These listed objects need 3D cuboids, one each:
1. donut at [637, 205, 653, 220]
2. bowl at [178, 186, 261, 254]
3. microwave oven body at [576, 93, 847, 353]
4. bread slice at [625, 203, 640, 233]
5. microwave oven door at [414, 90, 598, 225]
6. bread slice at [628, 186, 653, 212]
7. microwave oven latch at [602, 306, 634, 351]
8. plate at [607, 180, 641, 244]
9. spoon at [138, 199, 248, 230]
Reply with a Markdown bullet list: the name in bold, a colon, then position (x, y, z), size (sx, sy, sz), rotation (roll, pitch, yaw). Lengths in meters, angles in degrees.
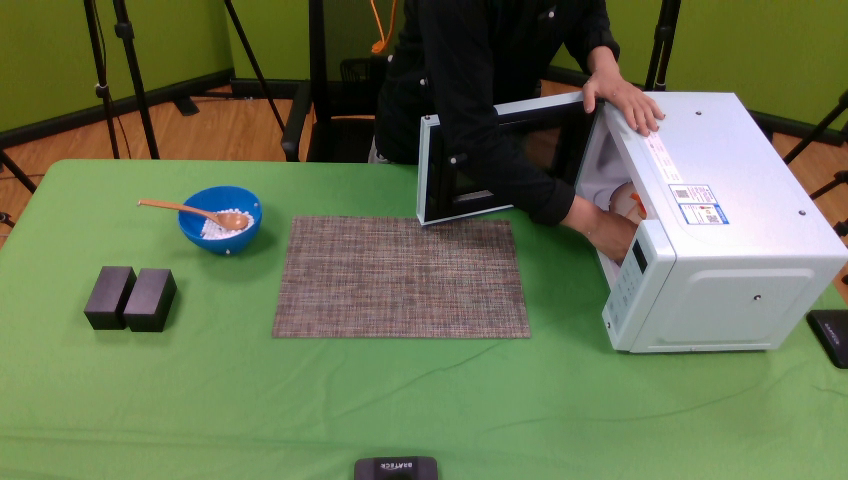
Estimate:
- **donut**: position (0.456, -0.056, 1.153), size (0.099, 0.048, 0.098), rotation (1, 44, 0)
- **bowl**: position (-0.383, -0.026, 1.158), size (0.151, 0.077, 0.150), rotation (2, 46, -2)
- **microwave oven body**: position (0.475, -0.041, 1.109), size (0.326, 0.261, 0.438), rotation (-1, 45, -4)
- **bread slice**: position (0.462, -0.035, 1.174), size (0.134, 0.018, 0.106), rotation (18, 55, 30)
- **microwave oven door**: position (0.158, -0.161, 1.195), size (0.356, 0.245, 0.039), rotation (-12, 48, -16)
- **bread slice**: position (0.467, -0.075, 1.134), size (0.131, 0.019, 0.105), rotation (34, 51, 29)
- **microwave oven latch**: position (0.332, 0.153, 1.044), size (0.030, 0.029, 0.078), rotation (0, 45, -4)
- **plate**: position (0.458, -0.039, 1.178), size (0.208, 0.039, 0.206), rotation (2, 45, -2)
- **spoon**: position (-0.431, -0.053, 1.135), size (0.194, 0.022, 0.041), rotation (15, 48, -20)
